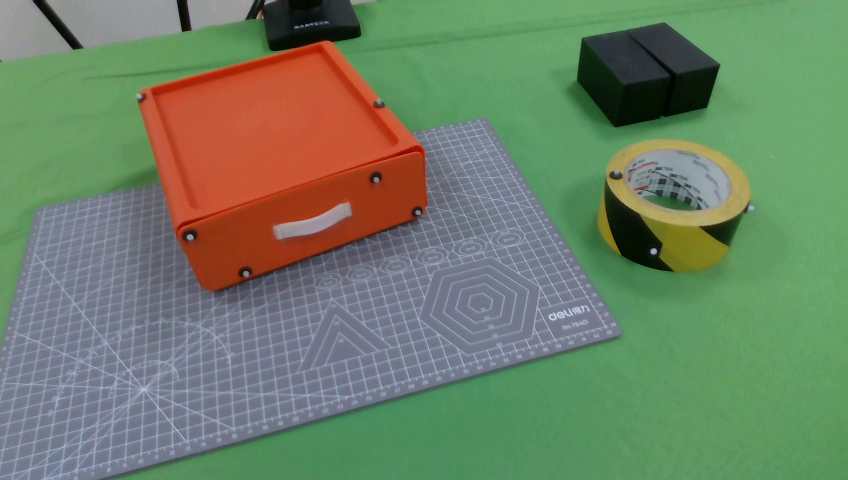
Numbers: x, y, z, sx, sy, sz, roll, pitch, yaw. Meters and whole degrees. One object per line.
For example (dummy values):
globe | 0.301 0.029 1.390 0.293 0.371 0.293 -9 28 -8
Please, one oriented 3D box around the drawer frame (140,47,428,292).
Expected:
drawer frame | -0.132 -0.076 0.551 0.202 0.083 0.211 -22 46 -17

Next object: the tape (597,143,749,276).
tape | 0.204 -0.029 0.506 0.117 0.053 0.115 -1 45 2

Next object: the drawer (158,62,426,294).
drawer | -0.129 -0.071 0.549 0.195 0.074 0.209 -21 46 -16
